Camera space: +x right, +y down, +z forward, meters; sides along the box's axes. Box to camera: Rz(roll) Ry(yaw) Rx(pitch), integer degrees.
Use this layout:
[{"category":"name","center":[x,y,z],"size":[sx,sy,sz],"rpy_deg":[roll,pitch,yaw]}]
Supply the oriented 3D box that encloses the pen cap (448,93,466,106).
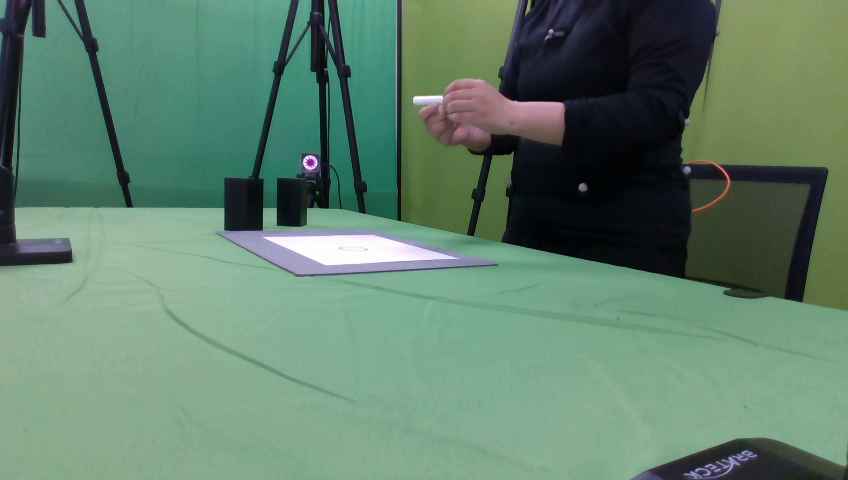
[{"category":"pen cap","center":[0.056,-0.243,1.045],"size":[0.017,0.017,0.038],"rpy_deg":[-2,-2,-36]}]

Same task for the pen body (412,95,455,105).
[{"category":"pen body","center":[0.021,-0.253,1.094],"size":[0.017,0.017,0.143],"rpy_deg":[-2,10,-32]}]
